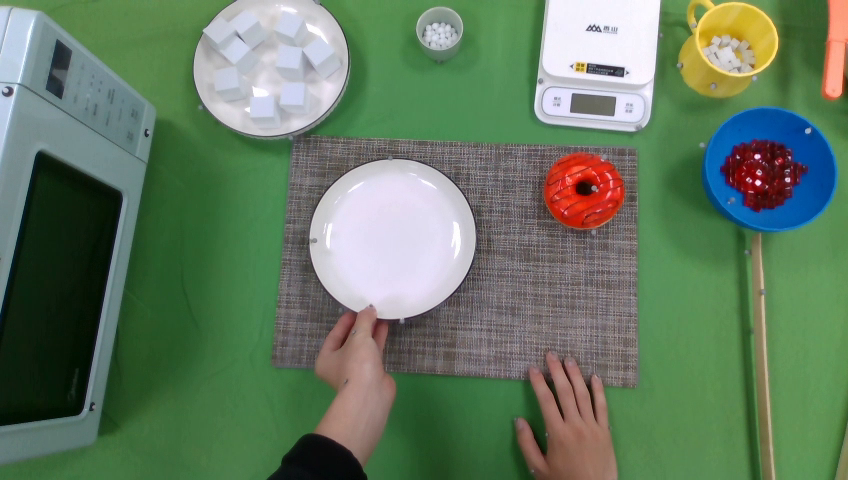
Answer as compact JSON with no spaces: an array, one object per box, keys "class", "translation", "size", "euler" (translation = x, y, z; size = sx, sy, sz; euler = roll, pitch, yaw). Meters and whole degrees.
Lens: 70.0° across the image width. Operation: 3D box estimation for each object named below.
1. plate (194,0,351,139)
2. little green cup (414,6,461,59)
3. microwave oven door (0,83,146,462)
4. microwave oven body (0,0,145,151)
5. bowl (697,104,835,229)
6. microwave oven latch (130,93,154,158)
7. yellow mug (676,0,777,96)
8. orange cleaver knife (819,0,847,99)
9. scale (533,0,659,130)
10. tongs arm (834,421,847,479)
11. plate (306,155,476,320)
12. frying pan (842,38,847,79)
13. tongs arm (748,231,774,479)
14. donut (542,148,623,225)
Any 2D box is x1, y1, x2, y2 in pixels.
[{"class":"plate","translation":[-0.198,-0.231,0.808],"size":[0.207,0.039,0.207],"euler":[0,80,3]},{"class":"little green cup","translation":[0.019,-0.273,0.805],"size":[0.061,0.039,0.061],"euler":[-1,79,3]},{"class":"microwave oven door","translation":[-0.401,0.047,0.646],"size":[0.039,0.245,0.354],"euler":[5,80,4]},{"class":"microwave oven body","translation":[-0.542,-0.006,0.668],"size":[0.326,0.261,0.440],"euler":[5,81,3]},{"class":"bowl","translation":[0.398,-0.080,0.734],"size":[0.151,0.077,0.151],"euler":[0,81,3]},{"class":"microwave oven latch","translation":[-0.371,-0.148,0.783],"size":[0.030,0.029,0.079],"euler":[7,81,3]},{"class":"yellow mug","translation":[0.373,-0.256,0.771],"size":[0.100,0.064,0.130],"euler":[-29,79,-2]},{"class":"orange cleaver knife","translation":[0.513,-0.269,0.730],"size":[0.077,0.012,0.210],"euler":[7,81,7]},{"class":"scale","translation":[0.225,-0.248,0.795],"size":[0.148,0.032,0.200],"euler":[7,81,4]},{"class":"tongs arm","translation":[0.498,0.191,0.706],"size":[0.028,0.028,0.386],"euler":[18,82,-1]},{"class":"plate","translation":[-0.040,-0.003,0.749],"size":[0.209,0.038,0.208],"euler":[0,74,1]},{"class":"frying pan","translation":[0.691,-0.178,0.723],"size":[0.307,0.103,0.484],"euler":[-24,72,0]},{"class":"tongs arm","translation":[0.413,0.179,0.709],"size":[0.051,0.026,0.383],"euler":[3,81,0]},{"class":"donut","translation":[0.195,-0.066,0.754],"size":[0.099,0.048,0.098],"euler":[-1,80,5]}]
